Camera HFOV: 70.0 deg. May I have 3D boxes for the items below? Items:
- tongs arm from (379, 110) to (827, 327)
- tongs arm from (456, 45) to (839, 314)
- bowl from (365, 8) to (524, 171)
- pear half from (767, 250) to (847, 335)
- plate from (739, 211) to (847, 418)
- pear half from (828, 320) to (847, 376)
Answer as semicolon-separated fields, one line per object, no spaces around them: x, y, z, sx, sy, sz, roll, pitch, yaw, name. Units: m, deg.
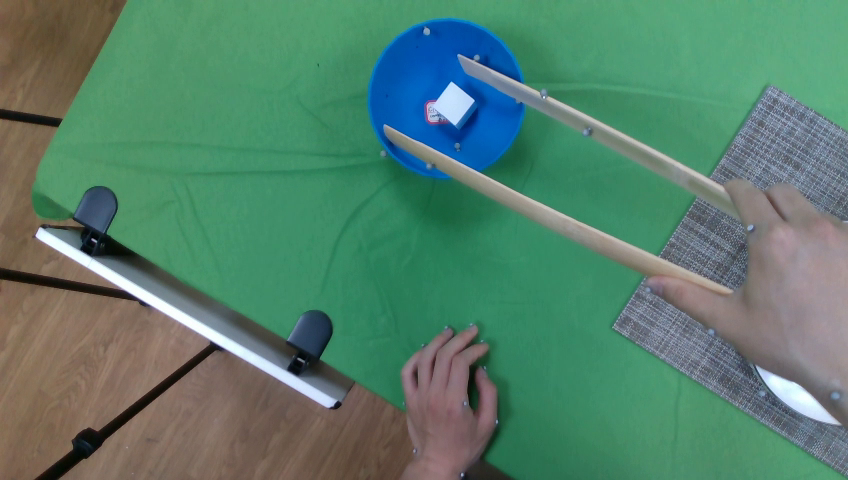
0.096;-0.033;0.468;0.383;0.028;0.028;32;66;35;tongs arm
0.138;-0.072;0.480;0.051;0.027;0.380;-41;53;-13;tongs arm
0.020;-0.141;0.605;0.151;0.077;0.151;0;93;2;bowl
0.404;0.043;0.601;0.076;0.056;0.110;42;90;-4;pear half
0.423;0.073;0.616;0.207;0.039;0.207;0;92;3;plate
0.459;0.106;0.610;0.088;0.031;0.070;-26;94;9;pear half
